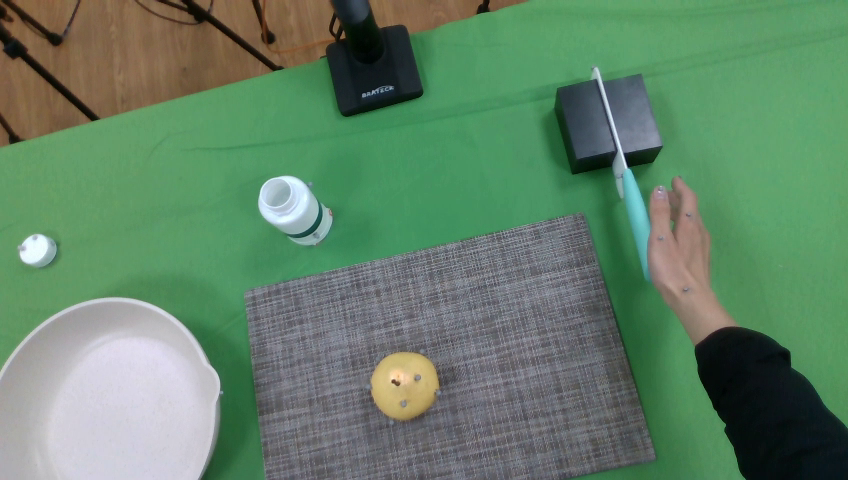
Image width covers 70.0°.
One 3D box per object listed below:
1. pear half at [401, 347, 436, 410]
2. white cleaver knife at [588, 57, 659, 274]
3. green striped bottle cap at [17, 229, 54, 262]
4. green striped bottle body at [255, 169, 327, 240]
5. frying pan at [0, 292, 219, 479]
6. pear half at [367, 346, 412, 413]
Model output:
[{"bbox_3d":[-0.003,0.156,0.691,0.031,0.088,0.070,-9,70,6],"label":"pear half"},{"bbox_3d":[0.241,-0.095,0.742,0.021,0.066,0.284,-13,72,12],"label":"white cleaver knife"},{"bbox_3d":[-0.534,0.007,0.833,0.044,0.020,0.044,-2,75,7],"label":"green striped bottle cap"},{"bbox_3d":[-0.166,-0.045,0.751,0.063,0.120,0.063,-2,74,7],"label":"green striped bottle body"},{"bbox_3d":[-0.354,0.301,0.691,0.307,0.103,0.483,-18,66,3],"label":"frying pan"},{"bbox_3d":[-0.040,0.157,0.685,0.056,0.110,0.076,-9,69,5],"label":"pear half"}]
